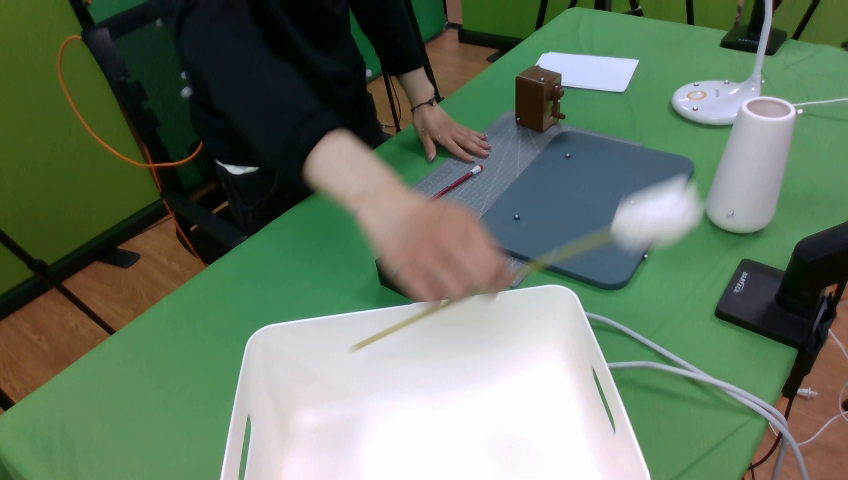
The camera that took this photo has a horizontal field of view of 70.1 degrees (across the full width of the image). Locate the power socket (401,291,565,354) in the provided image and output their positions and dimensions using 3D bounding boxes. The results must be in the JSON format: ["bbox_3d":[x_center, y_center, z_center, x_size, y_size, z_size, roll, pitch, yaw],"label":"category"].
[{"bbox_3d":[0.080,0.111,0.823,0.227,0.033,0.072,-5,41,1],"label":"power socket"}]

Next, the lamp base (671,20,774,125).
[{"bbox_3d":[0.581,-0.332,1.154,0.179,0.181,0.160,2,42,7],"label":"lamp base"}]

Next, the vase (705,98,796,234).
[{"bbox_3d":[0.480,-0.104,0.889,0.098,0.201,0.097,-4,42,4],"label":"vase"}]

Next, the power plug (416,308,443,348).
[{"bbox_3d":[0.005,0.121,0.787,0.035,0.053,0.072,2,46,8],"label":"power plug"}]

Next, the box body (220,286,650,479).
[{"bbox_3d":[0.006,0.210,0.618,0.364,0.161,0.252,-8,40,-1],"label":"box body"}]

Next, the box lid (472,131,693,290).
[{"bbox_3d":[0.273,-0.068,1.020,0.261,0.015,0.372,20,47,28],"label":"box lid"}]

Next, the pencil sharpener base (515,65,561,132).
[{"bbox_3d":[0.227,-0.278,1.195,0.076,0.107,0.061,30,53,35],"label":"pencil sharpener base"}]

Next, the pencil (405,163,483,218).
[{"bbox_3d":[0.038,-0.089,1.079,0.195,0.012,0.012,-36,48,-27],"label":"pencil"}]

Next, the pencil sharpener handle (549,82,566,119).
[{"bbox_3d":[0.261,-0.266,1.158,0.030,0.068,0.036,30,46,35],"label":"pencil sharpener handle"}]

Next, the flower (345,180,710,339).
[{"bbox_3d":[0.059,0.035,0.524,0.360,0.038,0.044,-25,6,32],"label":"flower"}]
